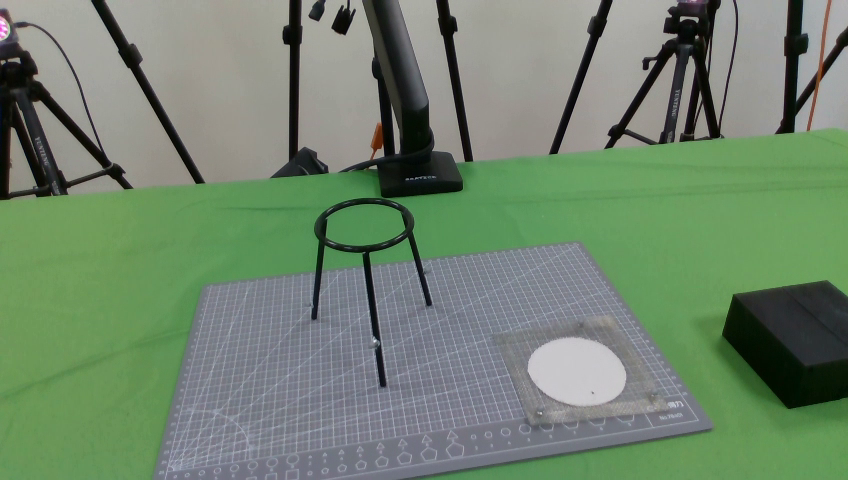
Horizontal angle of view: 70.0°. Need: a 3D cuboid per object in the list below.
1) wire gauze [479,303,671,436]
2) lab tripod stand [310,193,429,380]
[{"bbox_3d":[0.131,0.106,0.540,0.122,0.011,0.123,-15,41,-23],"label":"wire gauze"},{"bbox_3d":[-0.051,0.035,0.571,0.148,0.132,0.147,0,33,0],"label":"lab tripod stand"}]
